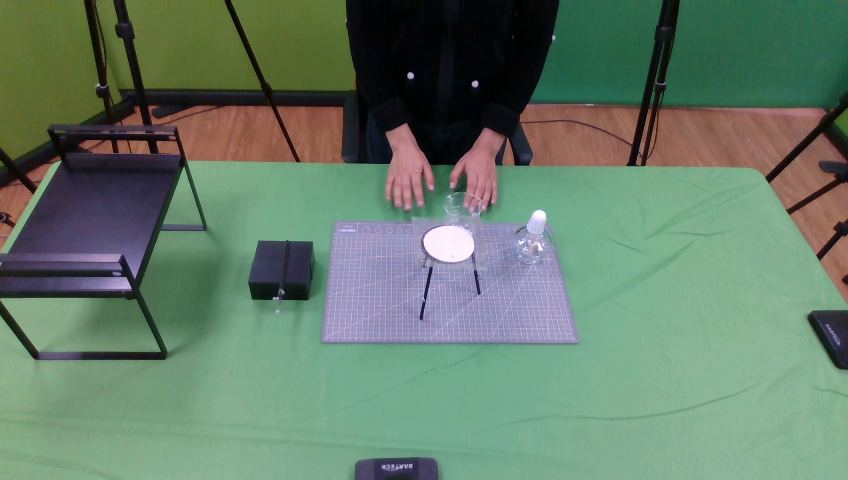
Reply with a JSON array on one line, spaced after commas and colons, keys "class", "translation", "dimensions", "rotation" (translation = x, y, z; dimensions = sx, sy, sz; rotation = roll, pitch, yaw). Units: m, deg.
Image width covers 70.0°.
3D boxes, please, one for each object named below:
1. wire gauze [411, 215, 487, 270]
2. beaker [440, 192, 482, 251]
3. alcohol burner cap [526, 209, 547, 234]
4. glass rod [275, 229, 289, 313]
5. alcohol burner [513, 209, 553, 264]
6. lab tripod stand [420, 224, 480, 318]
[{"class": "wire gauze", "translation": [0.041, 0.002, 1.026], "dimensions": [0.125, 0.011, 0.120], "rotation": [1, 46, -3]}, {"class": "beaker", "translation": [0.072, -0.034, 1.180], "dimensions": [0.084, 0.101, 0.073], "rotation": [-20, 51, -22]}, {"class": "alcohol burner cap", "translation": [0.213, -0.037, 1.133], "dimensions": [0.034, 0.048, 0.033], "rotation": [4, 51, -5]}, {"class": "glass rod", "translation": [-0.251, 0.050, 1.074], "dimensions": [0.008, 0.008, 0.198], "rotation": [0, 45, -5]}, {"class": "alcohol burner", "translation": [0.210, -0.012, 1.158], "dimensions": [0.078, 0.120, 0.077], "rotation": [2, 44, -1]}, {"class": "lab tripod stand", "translation": [0.034, 0.051, 1.070], "dimensions": [0.148, 0.132, 0.147], "rotation": [3, 48, -3]}]
